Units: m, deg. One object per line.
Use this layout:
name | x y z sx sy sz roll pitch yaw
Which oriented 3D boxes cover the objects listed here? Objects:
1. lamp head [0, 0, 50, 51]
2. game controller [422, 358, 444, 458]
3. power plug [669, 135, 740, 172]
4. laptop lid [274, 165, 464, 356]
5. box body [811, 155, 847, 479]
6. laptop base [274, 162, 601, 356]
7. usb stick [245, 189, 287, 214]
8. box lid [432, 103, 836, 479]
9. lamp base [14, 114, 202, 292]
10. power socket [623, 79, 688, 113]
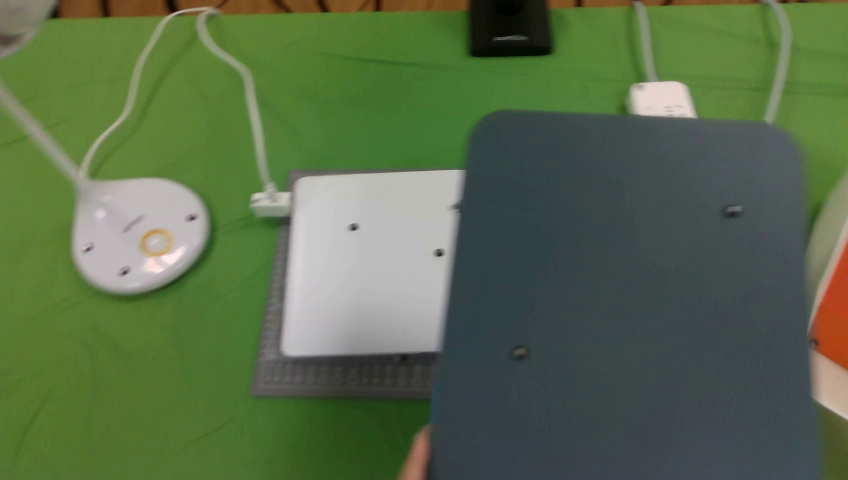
lamp head | -0.328 -0.201 0.404 0.123 0.112 0.112 27 63 -9
game controller | 0.075 0.163 0.604 0.155 0.052 0.096 -2 59 1
power plug | 0.331 -0.099 0.721 0.072 0.053 0.035 9 61 6
laptop lid | 0.011 0.013 0.694 0.357 0.013 0.239 -1 63 2
box body | 0.480 0.073 0.569 0.252 0.162 0.363 30 66 18
laptop base | 0.011 0.017 0.706 0.354 0.023 0.233 -3 64 1
usb stick | -0.184 -0.046 0.736 0.059 0.027 0.021 1 56 0
box lid | 0.148 0.067 0.436 0.263 0.015 0.369 5 72 6
lamp base | -0.365 -0.053 0.670 0.178 0.182 0.160 24 64 19
power socket | 0.302 -0.115 0.758 0.072 0.033 0.224 -1 60 1
